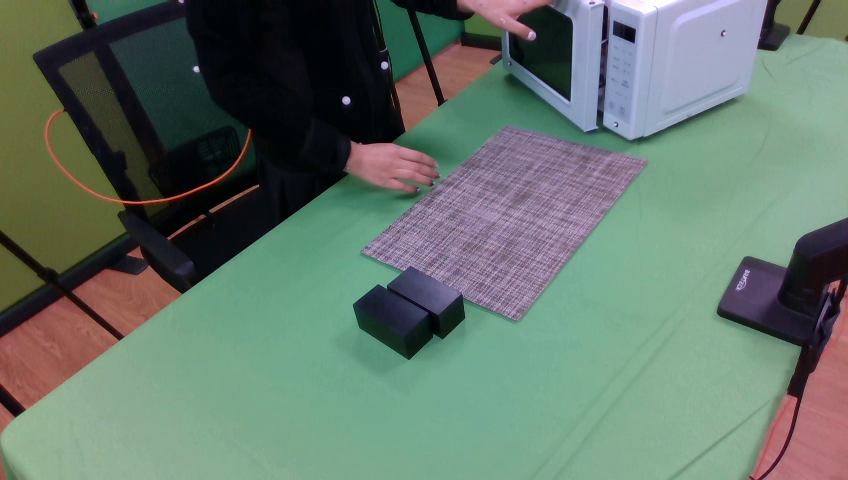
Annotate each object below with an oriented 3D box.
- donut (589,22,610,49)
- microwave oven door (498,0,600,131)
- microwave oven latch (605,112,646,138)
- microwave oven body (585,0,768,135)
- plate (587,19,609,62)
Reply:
[{"bbox_3d":[0.401,-0.429,1.293,0.099,0.048,0.098,4,49,-4],"label":"donut"},{"bbox_3d":[0.243,-0.403,1.214,0.039,0.245,0.353,-20,41,-11],"label":"microwave oven door"},{"bbox_3d":[0.375,-0.217,1.130,0.030,0.029,0.078,-25,42,-16],"label":"microwave oven latch"},{"bbox_3d":[0.411,-0.441,1.235,0.327,0.261,0.437,-25,42,-16],"label":"microwave oven body"},{"bbox_3d":[0.359,-0.425,1.294,0.209,0.038,0.208,-1,36,1],"label":"plate"}]
